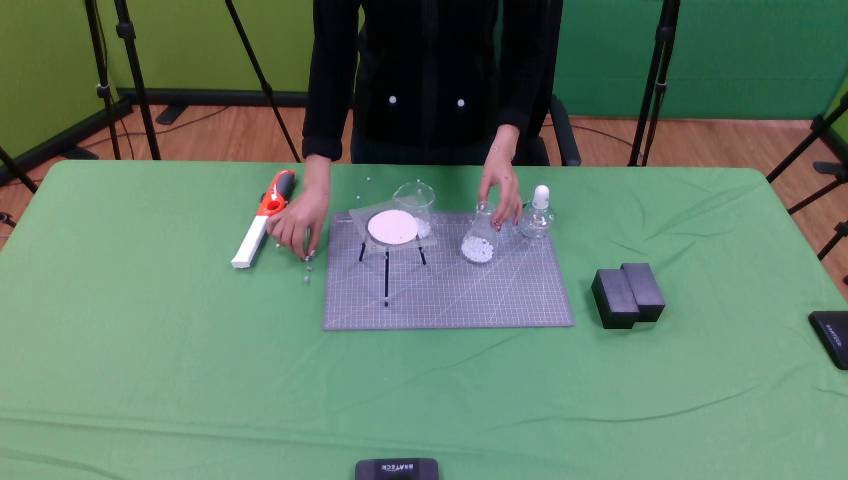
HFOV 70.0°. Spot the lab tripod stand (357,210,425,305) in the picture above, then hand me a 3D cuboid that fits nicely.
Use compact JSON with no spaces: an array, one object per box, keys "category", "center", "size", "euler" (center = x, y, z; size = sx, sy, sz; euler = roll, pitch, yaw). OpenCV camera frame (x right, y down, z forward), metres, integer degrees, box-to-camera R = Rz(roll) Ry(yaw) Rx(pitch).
[{"category":"lab tripod stand","center":[-0.060,0.020,1.094],"size":[0.148,0.132,0.147],"euler":[3,44,-2]}]

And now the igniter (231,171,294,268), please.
[{"category":"igniter","center":[-0.321,-0.051,1.220],"size":[0.057,0.025,0.275],"euler":[1,45,11]}]

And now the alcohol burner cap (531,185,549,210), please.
[{"category":"alcohol burner cap","center":[0.228,-0.085,1.183],"size":[0.034,0.048,0.033],"euler":[-1,48,2]}]

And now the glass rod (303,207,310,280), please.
[{"category":"glass rod","center":[-0.229,0.003,1.186],"size":[0.008,0.008,0.198],"euler":[-2,45,-6]}]

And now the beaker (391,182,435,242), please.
[{"category":"beaker","center":[-0.023,-0.053,1.192],"size":[0.084,0.101,0.073],"euler":[-2,46,-5]}]

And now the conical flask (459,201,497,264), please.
[{"category":"conical flask","center":[0.108,-0.018,1.153],"size":[0.075,0.122,0.075],"euler":[2,46,-2]}]

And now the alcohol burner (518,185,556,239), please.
[{"category":"alcohol burner","center":[0.227,-0.061,1.209],"size":[0.078,0.120,0.077],"euler":[1,44,-1]}]

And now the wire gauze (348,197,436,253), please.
[{"category":"wire gauze","center":[-0.056,-0.026,1.045],"size":[0.125,0.011,0.120],"euler":[-11,46,-17]}]
